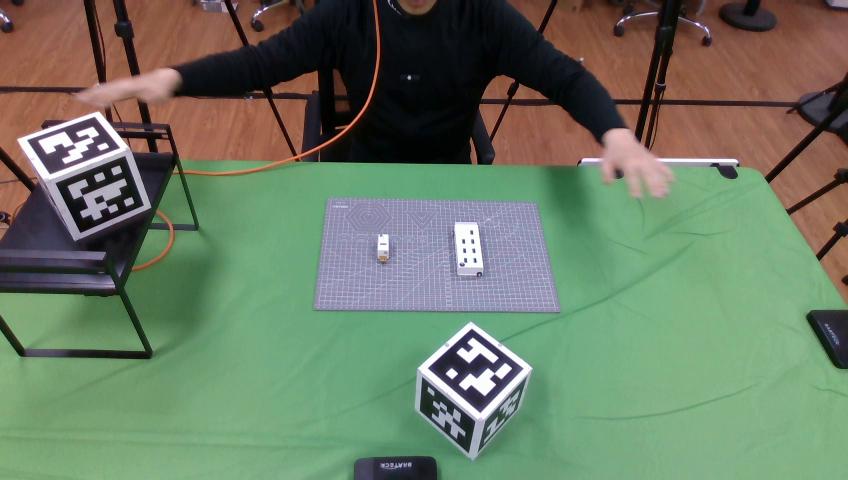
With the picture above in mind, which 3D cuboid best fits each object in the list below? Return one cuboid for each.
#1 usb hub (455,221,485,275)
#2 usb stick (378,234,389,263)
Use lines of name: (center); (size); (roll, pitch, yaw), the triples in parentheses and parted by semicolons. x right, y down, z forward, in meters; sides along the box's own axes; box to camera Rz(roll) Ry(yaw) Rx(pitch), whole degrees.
usb hub: (0.088, 0.014, 1.178); (0.049, 0.025, 0.124); (0, 46, -2)
usb stick: (-0.078, 0.017, 1.163); (0.021, 0.027, 0.059); (2, 48, -3)
